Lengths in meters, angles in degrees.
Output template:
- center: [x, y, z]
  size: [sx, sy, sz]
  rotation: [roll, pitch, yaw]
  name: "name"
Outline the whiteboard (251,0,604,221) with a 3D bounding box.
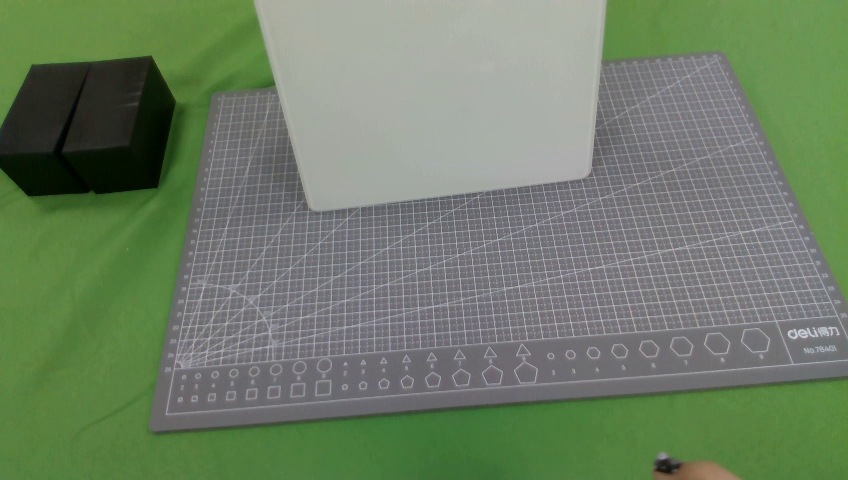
- center: [0.001, -0.190, 0.418]
  size: [0.217, 0.308, 0.142]
  rotation: [-7, 37, 0]
  name: "whiteboard"
